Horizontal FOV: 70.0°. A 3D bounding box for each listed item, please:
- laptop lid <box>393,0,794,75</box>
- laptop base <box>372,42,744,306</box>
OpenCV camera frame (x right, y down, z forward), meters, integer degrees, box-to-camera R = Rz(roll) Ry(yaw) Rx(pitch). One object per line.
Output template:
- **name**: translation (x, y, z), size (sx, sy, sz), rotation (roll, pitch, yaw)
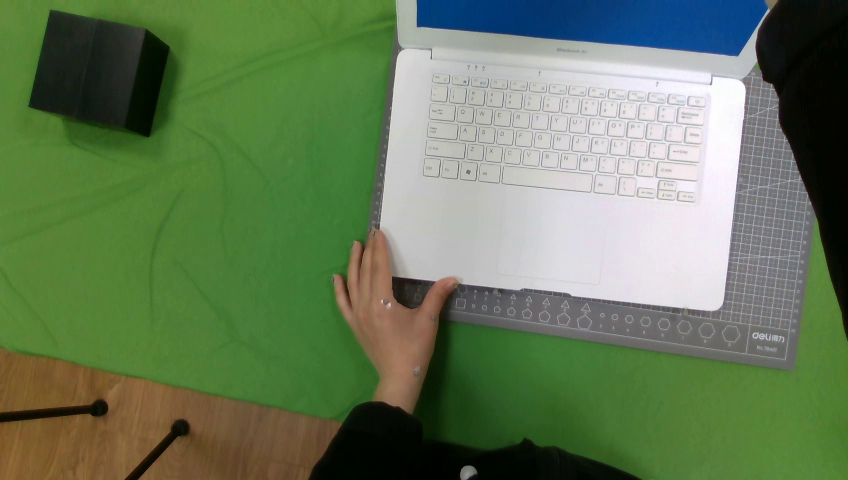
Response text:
- **laptop lid**: translation (0.145, -0.235, 0.513), size (0.356, 0.243, 0.013), rotation (5, 63, 3)
- **laptop base**: translation (0.133, -0.068, 0.619), size (0.354, 0.023, 0.235), rotation (6, 93, 2)
